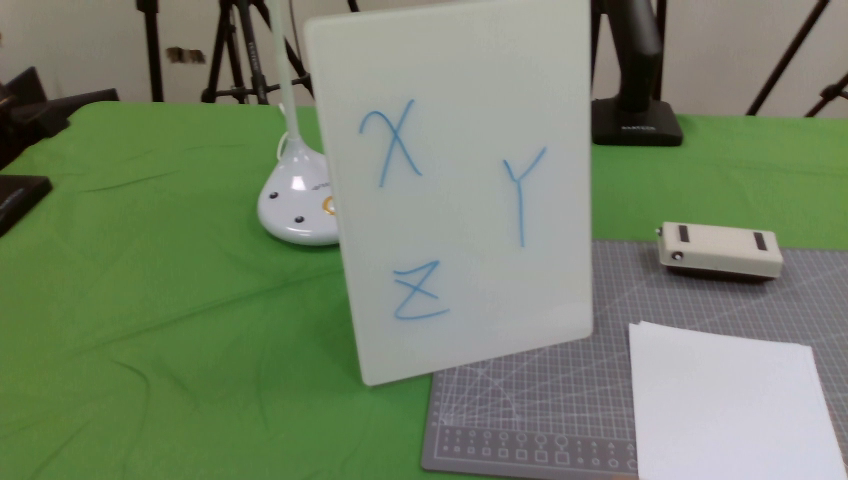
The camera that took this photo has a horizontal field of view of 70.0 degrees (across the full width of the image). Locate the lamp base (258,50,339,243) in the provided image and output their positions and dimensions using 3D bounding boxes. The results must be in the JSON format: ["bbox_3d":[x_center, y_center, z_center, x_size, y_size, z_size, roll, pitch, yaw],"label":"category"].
[{"bbox_3d":[-0.131,-0.114,0.692,0.161,0.182,0.177,-30,44,-30],"label":"lamp base"}]

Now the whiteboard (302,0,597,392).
[{"bbox_3d":[0.024,-0.051,0.552,0.217,0.307,0.142,-10,20,-9],"label":"whiteboard"}]

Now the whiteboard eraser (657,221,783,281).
[{"bbox_3d":[0.300,0.012,0.622,0.112,0.042,0.055,7,40,11],"label":"whiteboard eraser"}]
